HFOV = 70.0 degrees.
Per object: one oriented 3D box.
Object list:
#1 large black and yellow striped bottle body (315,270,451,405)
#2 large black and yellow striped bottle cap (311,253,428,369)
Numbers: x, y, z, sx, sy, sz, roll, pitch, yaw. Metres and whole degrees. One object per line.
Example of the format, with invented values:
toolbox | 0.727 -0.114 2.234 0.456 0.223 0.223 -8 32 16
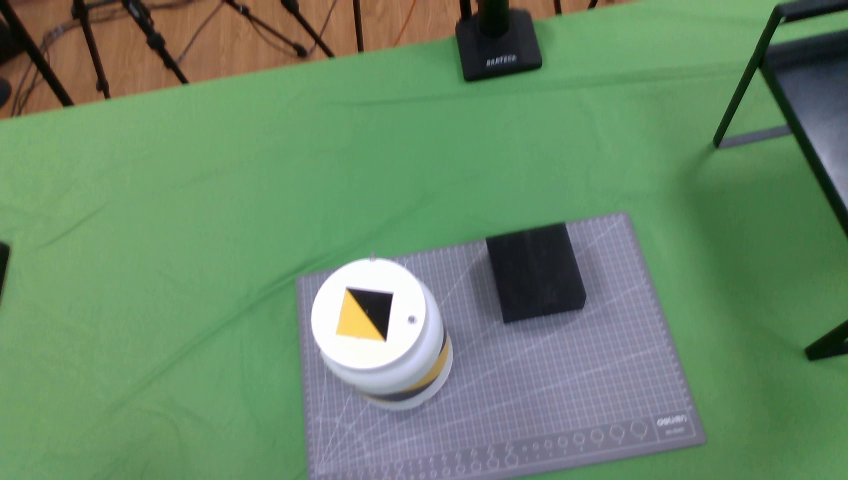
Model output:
large black and yellow striped bottle body | -0.043 0.102 0.669 0.130 0.185 0.129 -3 65 7
large black and yellow striped bottle cap | -0.054 0.068 0.592 0.115 0.019 0.114 -4 65 8
